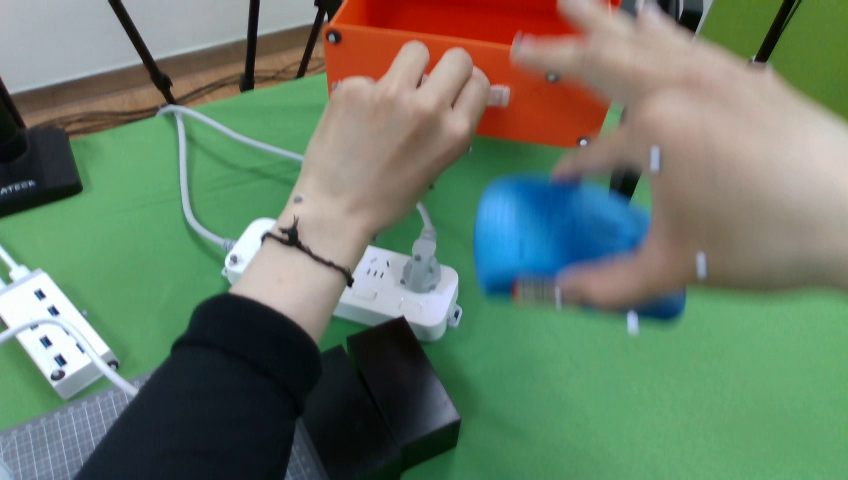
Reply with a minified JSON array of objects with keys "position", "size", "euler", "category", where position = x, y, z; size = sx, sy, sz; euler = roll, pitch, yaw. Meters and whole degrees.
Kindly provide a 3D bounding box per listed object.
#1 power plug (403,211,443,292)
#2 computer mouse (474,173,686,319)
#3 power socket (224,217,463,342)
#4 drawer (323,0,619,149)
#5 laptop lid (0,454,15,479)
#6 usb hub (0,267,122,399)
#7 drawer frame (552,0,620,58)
[{"position":[0.008,0.017,0.547],"size":[0.035,0.053,0.072],"euler":[23,53,18],"category":"power plug"},{"position":[0.084,0.002,0.320],"size":[0.117,0.041,0.062],"euler":[13,53,-7],"category":"computer mouse"},{"position":[-0.074,0.034,0.557],"size":[0.226,0.033,0.072],"euler":[15,48,10],"category":"power socket"},{"position":[0.045,-0.173,0.477],"size":[0.194,0.074,0.210],"euler":[9,48,5],"category":"drawer"},{"position":[-0.446,0.141,0.293],"size":[0.357,0.244,0.013],"euler":[-25,41,-21],"category":"laptop lid"},{"position":[-0.313,0.075,0.511],"size":[0.124,0.025,0.049],"euler":[36,56,26],"category":"usb hub"},{"position":[0.061,-0.249,0.542],"size":[0.201,0.083,0.211],"euler":[7,48,4],"category":"drawer frame"}]
